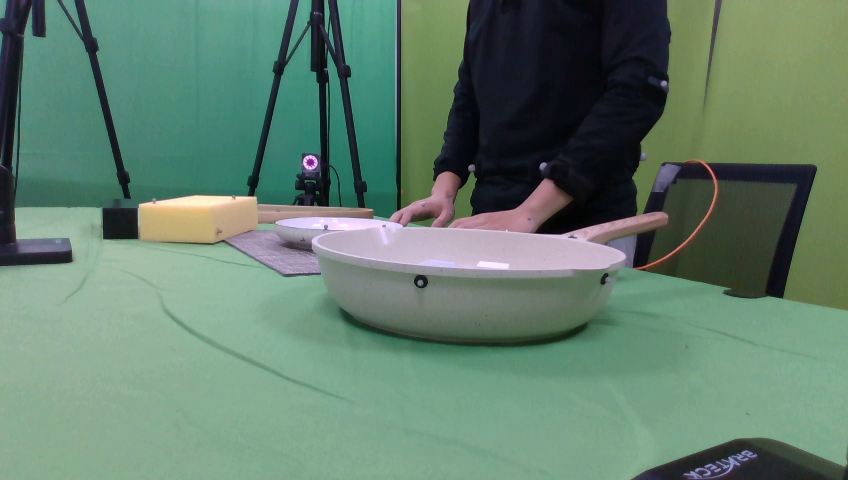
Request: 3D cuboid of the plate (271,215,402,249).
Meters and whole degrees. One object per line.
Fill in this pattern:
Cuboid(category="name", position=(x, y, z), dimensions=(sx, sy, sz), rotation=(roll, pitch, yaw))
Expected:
Cuboid(category="plate", position=(-0.141, -0.012, 0.978), dimensions=(0.208, 0.039, 0.207), rotation=(3, 7, 0))

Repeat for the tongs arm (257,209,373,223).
Cuboid(category="tongs arm", position=(-0.274, -0.053, 1.347), dimensions=(0.390, 0.028, 0.028), rotation=(-3, 7, -37))

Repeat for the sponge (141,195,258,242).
Cuboid(category="sponge", position=(-0.380, -0.040, 1.047), dimensions=(0.118, 0.061, 0.207), rotation=(1, 9, 3))

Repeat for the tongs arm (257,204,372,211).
Cuboid(category="tongs arm", position=(-0.312, -0.068, 1.417), dimensions=(0.387, 0.026, 0.050), rotation=(1, 8, -24))

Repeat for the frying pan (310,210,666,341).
Cuboid(category="frying pan", position=(0.120, 0.011, 0.643), dimensions=(0.490, 0.102, 0.305), rotation=(-13, 16, -36))
